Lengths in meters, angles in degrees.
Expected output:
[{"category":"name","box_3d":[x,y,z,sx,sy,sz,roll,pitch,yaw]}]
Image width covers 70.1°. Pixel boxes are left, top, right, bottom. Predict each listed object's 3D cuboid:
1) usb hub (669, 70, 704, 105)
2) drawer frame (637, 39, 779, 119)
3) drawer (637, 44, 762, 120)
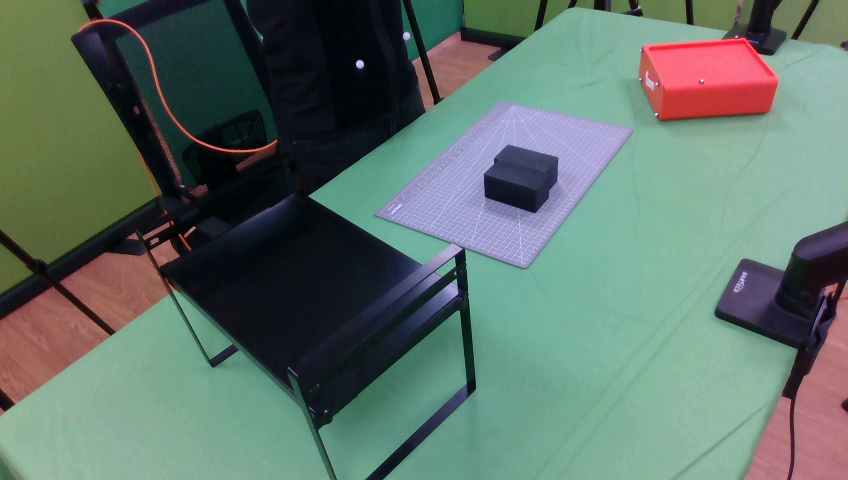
[{"category":"usb hub","box_3d":[0.533,-0.310,1.229,0.049,0.025,0.125,-9,30,19]},{"category":"drawer frame","box_3d":[0.563,-0.329,1.227,0.213,0.083,0.201,-2,40,5]},{"category":"drawer","box_3d":[0.561,-0.326,1.231,0.212,0.073,0.193,-1,41,4]}]
